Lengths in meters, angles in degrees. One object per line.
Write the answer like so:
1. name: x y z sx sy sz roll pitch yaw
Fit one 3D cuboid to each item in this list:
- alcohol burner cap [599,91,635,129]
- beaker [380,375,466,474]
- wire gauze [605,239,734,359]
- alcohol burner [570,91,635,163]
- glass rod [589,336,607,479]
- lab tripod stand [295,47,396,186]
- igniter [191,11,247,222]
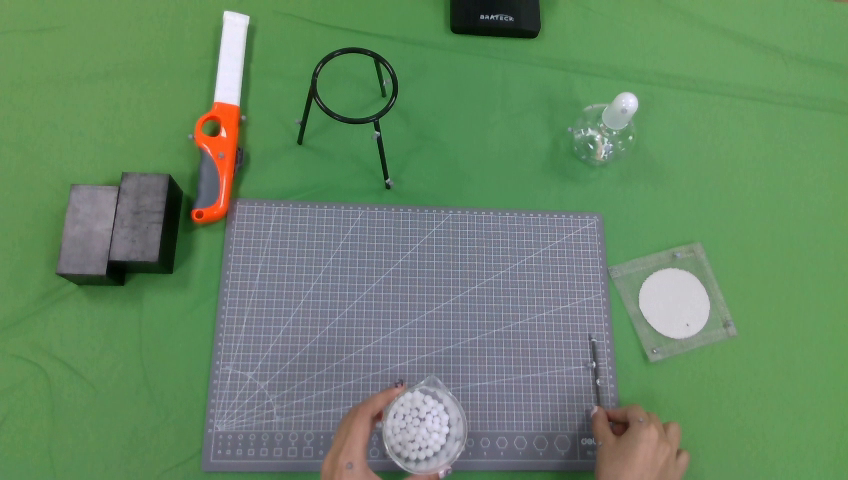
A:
1. alcohol burner cap: 0.224 -0.151 0.693 0.034 0.048 0.033 1 77 -2
2. beaker: -0.005 0.170 0.568 0.074 0.100 0.083 11 74 -4
3. wire gauze: 0.297 0.069 0.729 0.125 0.011 0.121 -16 76 -8
4. alcohol burner: 0.220 -0.141 0.728 0.078 0.119 0.077 2 71 -5
5. glass rod: 0.195 0.206 0.674 0.008 0.008 0.198 1 73 -6
6. lab tripod stand: -0.079 -0.146 0.687 0.148 0.132 0.147 2 72 -4
7. igniter: -0.242 -0.151 0.726 0.057 0.025 0.275 7 72 -19
